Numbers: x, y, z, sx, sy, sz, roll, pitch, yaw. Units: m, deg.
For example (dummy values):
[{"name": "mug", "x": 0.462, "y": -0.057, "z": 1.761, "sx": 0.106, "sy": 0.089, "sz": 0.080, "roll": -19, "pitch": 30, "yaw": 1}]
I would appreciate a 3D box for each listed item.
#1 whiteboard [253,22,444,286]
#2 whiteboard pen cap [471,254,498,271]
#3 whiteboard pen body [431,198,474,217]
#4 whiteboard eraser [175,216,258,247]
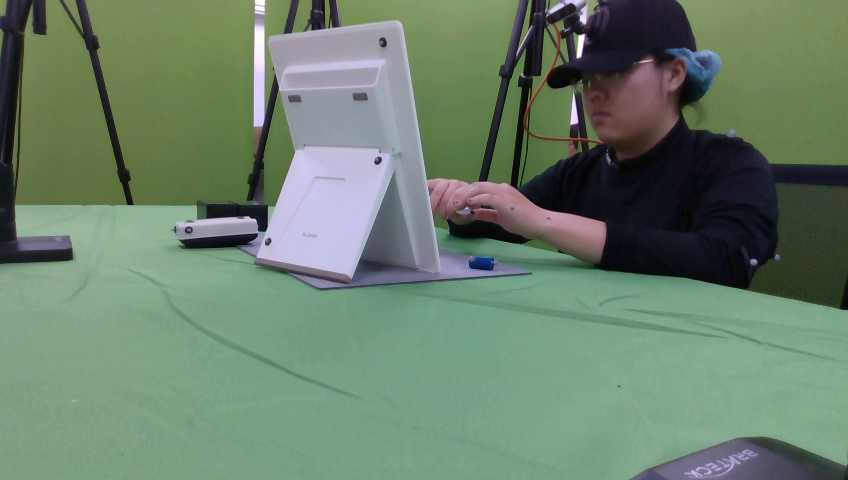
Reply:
[{"name": "whiteboard", "x": -0.125, "y": -0.081, "z": 0.715, "sx": 0.216, "sy": 0.305, "sz": 0.144, "roll": 9, "pitch": 29, "yaw": 36}, {"name": "whiteboard pen cap", "x": 0.081, "y": 0.031, "z": 0.800, "sx": 0.033, "sy": 0.018, "sz": 0.018, "roll": 19, "pitch": 3, "yaw": -16}, {"name": "whiteboard pen body", "x": 0.040, "y": -0.052, "z": 0.983, "sx": 0.017, "sy": 0.017, "sz": 0.140, "roll": -2, "pitch": 13, "yaw": -31}, {"name": "whiteboard eraser", "x": -0.314, "y": -0.012, "z": 0.915, "sx": 0.113, "sy": 0.042, "sz": 0.055, "roll": -5, "pitch": 12, "yaw": -30}]
